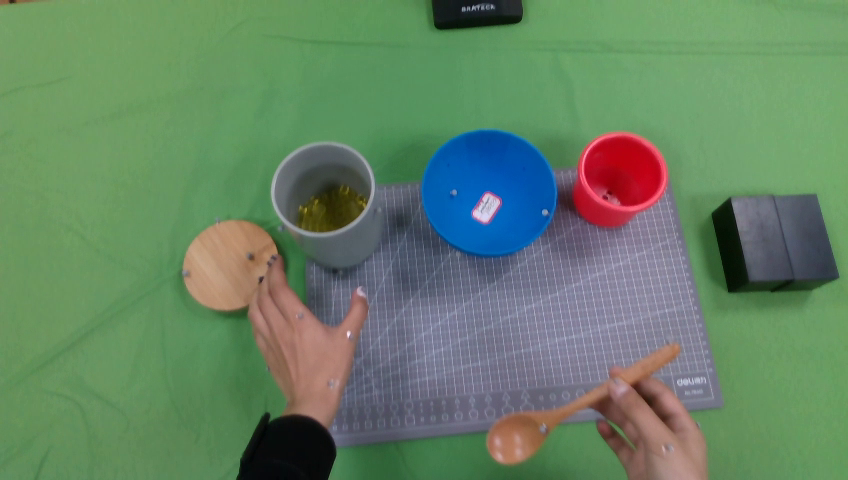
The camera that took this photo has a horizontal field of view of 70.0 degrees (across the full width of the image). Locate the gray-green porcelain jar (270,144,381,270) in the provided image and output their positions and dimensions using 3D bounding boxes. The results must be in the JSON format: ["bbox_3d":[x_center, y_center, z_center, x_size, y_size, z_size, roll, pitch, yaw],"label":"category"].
[{"bbox_3d":[-0.102,-0.030,0.666,0.106,0.127,0.105,0,71,0],"label":"gray-green porcelain jar"}]

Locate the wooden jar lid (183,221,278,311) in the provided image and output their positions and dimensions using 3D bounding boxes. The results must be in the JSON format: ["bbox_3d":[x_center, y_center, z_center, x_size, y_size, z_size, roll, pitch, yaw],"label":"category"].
[{"bbox_3d":[-0.223,0.031,0.706,0.108,0.021,0.107,0,71,1],"label":"wooden jar lid"}]

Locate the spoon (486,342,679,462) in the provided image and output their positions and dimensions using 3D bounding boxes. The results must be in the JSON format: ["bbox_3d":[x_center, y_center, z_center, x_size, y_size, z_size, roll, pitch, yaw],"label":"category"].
[{"bbox_3d":[0.134,0.141,0.524,0.194,0.022,0.041,-37,78,25],"label":"spoon"}]

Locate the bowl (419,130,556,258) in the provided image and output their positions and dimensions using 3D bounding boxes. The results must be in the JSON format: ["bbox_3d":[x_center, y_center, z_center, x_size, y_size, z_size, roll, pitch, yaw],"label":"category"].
[{"bbox_3d":[0.070,-0.041,0.696,0.151,0.077,0.150,0,71,0],"label":"bowl"}]
